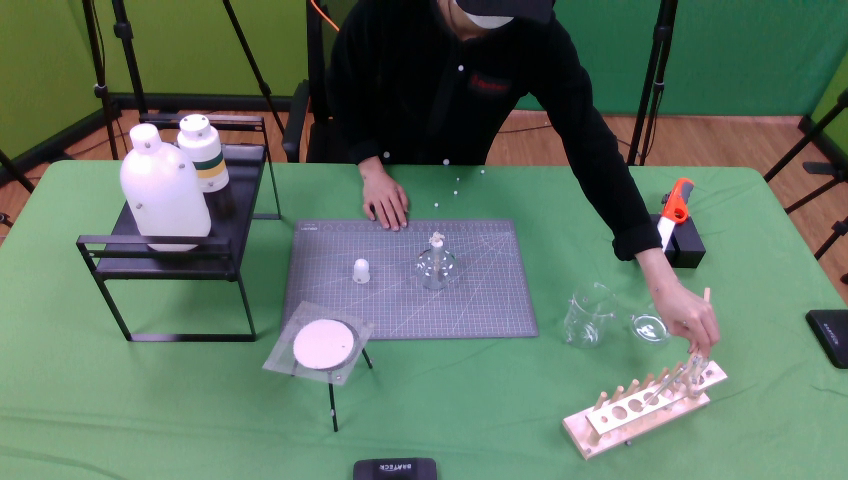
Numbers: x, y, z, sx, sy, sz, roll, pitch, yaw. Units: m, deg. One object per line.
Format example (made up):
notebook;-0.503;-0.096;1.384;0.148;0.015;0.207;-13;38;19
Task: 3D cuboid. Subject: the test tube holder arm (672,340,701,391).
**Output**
test tube holder arm;0.398;0.188;0.911;0.010;0.015;0.087;31;72;27

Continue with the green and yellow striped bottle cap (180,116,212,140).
green and yellow striped bottle cap;-0.358;-0.177;0.951;0.045;0.020;0.045;1;43;-1

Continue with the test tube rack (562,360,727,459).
test tube rack;0.341;0.247;0.940;0.243;0.085;0.066;-16;49;-18

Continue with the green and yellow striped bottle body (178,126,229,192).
green and yellow striped bottle body;-0.361;-0.142;0.989;0.063;0.120;0.063;2;46;-2

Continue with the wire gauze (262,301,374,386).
wire gauze;-0.150;0.148;0.873;0.121;0.011;0.124;14;46;12

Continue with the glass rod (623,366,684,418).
glass rod;0.321;0.226;0.867;0.008;0.200;0.008;6;52;-7

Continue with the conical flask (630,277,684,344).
conical flask;0.409;0.117;1.045;0.075;0.122;0.075;2;46;-2

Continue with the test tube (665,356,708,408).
test tube;0.389;0.216;0.905;0.017;0.151;0.017;1;51;-1

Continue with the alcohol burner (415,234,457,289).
alcohol burner;0.022;0.034;1.100;0.078;0.120;0.077;1;47;0

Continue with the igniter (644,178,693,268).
igniter;0.488;-0.042;1.204;0.057;0.025;0.276;30;51;10

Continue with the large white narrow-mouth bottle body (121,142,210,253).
large white narrow-mouth bottle body;-0.378;-0.077;0.875;0.102;0.195;0.101;3;46;-3

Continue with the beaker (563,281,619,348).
beaker;0.283;0.129;1.041;0.074;0.101;0.083;11;46;7

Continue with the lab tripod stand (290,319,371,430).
lab tripod stand;-0.146;0.194;0.923;0.148;0.132;0.147;1;47;-1

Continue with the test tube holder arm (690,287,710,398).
test tube holder arm;0.422;0.153;0.925;0.013;0.015;0.177;12;64;19

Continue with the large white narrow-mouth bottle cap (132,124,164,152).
large white narrow-mouth bottle cap;-0.370;-0.138;0.812;0.038;0.024;0.037;3;46;-3

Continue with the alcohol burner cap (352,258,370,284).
alcohol burner cap;-0.117;0.055;1.118;0.034;0.048;0.033;1;45;-1
